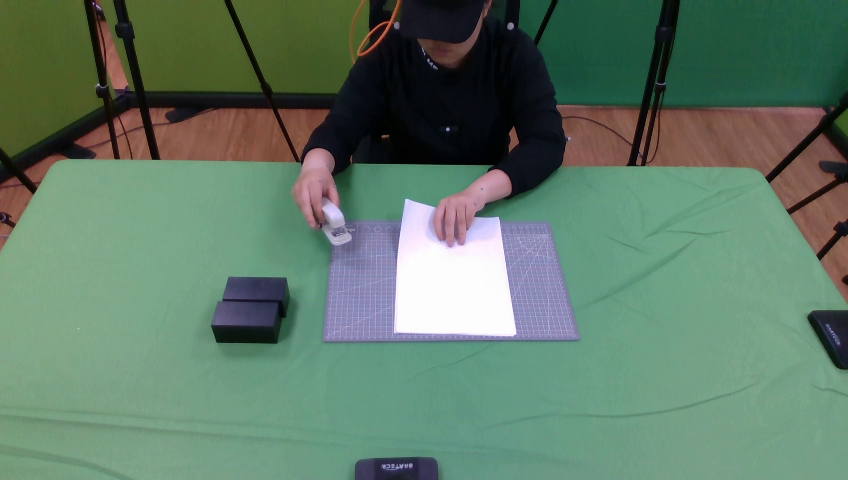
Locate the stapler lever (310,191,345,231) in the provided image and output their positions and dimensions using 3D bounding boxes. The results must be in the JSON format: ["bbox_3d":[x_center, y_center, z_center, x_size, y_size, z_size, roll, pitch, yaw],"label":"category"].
[{"bbox_3d":[-0.185,-0.061,1.153,0.027,0.040,0.117,-21,47,-22],"label":"stapler lever"}]

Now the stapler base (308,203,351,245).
[{"bbox_3d":[-0.183,-0.042,1.170,0.041,0.024,0.129,-21,47,-22],"label":"stapler base"}]
